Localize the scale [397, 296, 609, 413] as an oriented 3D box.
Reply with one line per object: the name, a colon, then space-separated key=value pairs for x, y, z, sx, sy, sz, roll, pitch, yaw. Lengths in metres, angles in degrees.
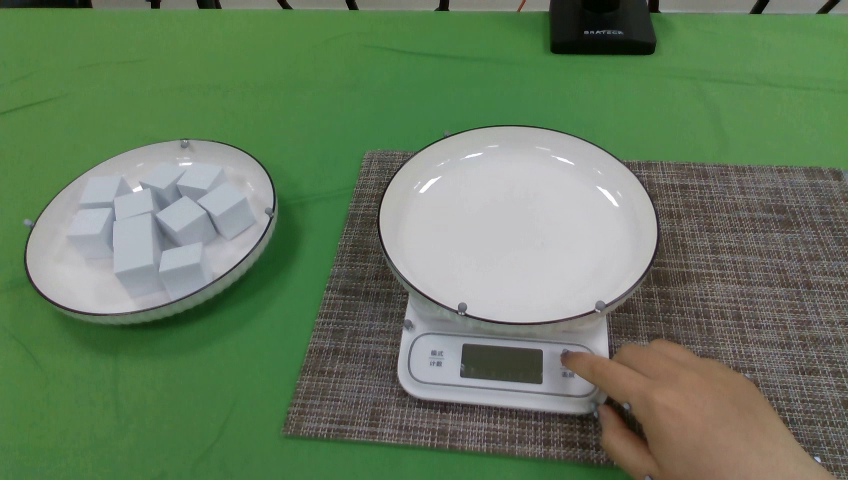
scale: x=0.065 y=0.033 z=0.472 sx=0.148 sy=0.032 sz=0.199 roll=4 pitch=49 yaw=8

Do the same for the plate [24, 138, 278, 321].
plate: x=-0.229 y=-0.011 z=0.530 sx=0.209 sy=0.038 sz=0.207 roll=-1 pitch=48 yaw=2

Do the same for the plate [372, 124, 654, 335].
plate: x=0.066 y=-0.010 z=0.466 sx=0.207 sy=0.039 sz=0.205 roll=-1 pitch=49 yaw=2
